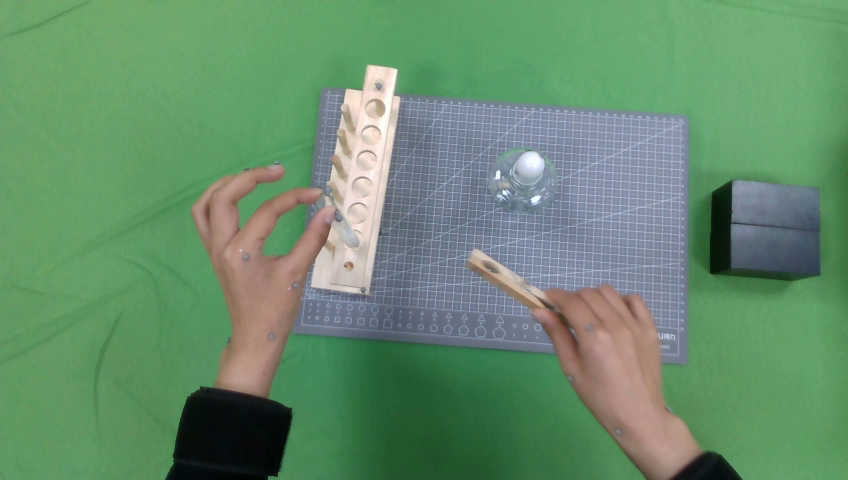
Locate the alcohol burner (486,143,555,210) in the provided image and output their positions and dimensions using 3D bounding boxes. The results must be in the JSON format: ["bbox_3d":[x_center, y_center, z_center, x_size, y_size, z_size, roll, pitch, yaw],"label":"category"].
[{"bbox_3d":[0.109,-0.074,0.667,0.078,0.119,0.077,0,81,0],"label":"alcohol burner"}]

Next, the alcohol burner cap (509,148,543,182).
[{"bbox_3d":[0.108,-0.081,0.631,0.034,0.048,0.034,0,85,2],"label":"alcohol burner cap"}]

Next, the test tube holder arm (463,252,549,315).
[{"bbox_3d":[0.075,0.039,0.546,0.087,0.015,0.010,32,66,5],"label":"test tube holder arm"}]

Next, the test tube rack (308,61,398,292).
[{"bbox_3d":[-0.082,-0.069,0.677,0.067,0.085,0.241,8,80,1],"label":"test tube rack"}]

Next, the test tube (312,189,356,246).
[{"bbox_3d":[-0.081,-0.017,0.565,0.017,0.151,0.017,0,76,2],"label":"test tube"}]

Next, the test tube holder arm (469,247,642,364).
[{"bbox_3d":[0.116,0.059,0.545,0.178,0.015,0.013,31,66,5],"label":"test tube holder arm"}]
